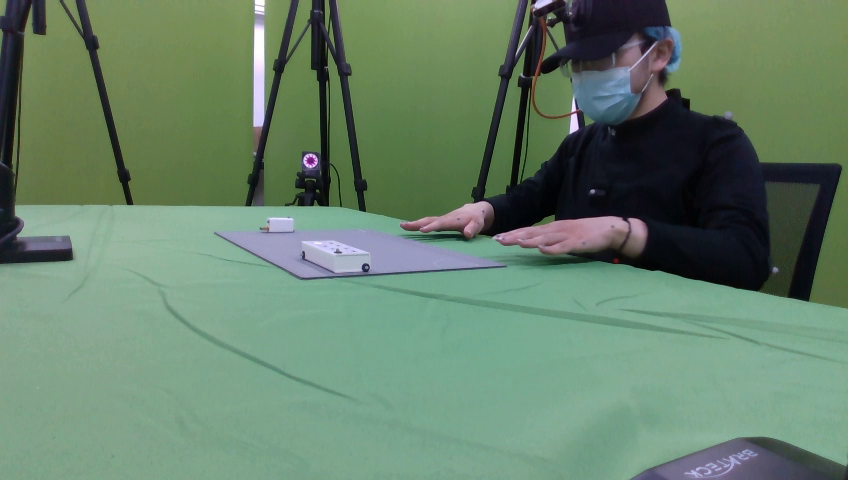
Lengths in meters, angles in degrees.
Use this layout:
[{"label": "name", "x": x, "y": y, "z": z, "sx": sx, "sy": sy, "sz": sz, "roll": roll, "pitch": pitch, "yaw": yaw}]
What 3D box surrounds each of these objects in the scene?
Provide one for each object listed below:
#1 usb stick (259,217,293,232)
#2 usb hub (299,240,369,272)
[{"label": "usb stick", "x": -0.268, "y": -0.028, "z": 1.094, "sx": 0.059, "sy": 0.027, "sz": 0.021, "roll": -5, "pitch": 12, "yaw": -32}, {"label": "usb hub", "x": -0.119, "y": 0.019, "z": 0.782, "sx": 0.050, "sy": 0.025, "sz": 0.124, "roll": -2, "pitch": 8, "yaw": -31}]
